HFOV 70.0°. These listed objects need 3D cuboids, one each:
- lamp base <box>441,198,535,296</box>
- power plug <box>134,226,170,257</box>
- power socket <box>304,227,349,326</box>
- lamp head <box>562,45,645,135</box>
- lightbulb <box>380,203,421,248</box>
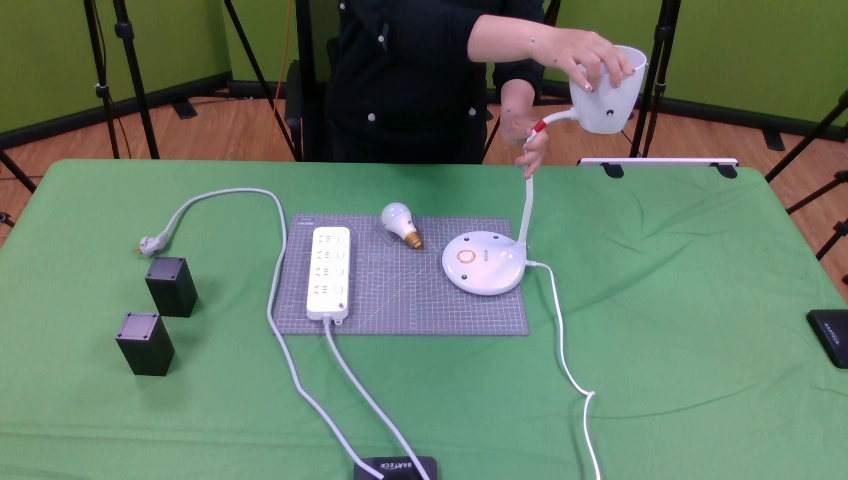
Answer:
[{"bbox_3d":[0.129,-0.012,1.105,0.179,0.181,0.159,-1,46,-9],"label":"lamp base"},{"bbox_3d":[-0.515,0.005,1.153,0.052,0.035,0.072,-6,24,7],"label":"power plug"},{"bbox_3d":[-0.177,0.059,1.115,0.072,0.033,0.225,-1,46,-4],"label":"power socket"},{"bbox_3d":[0.271,-0.223,0.930,0.112,0.123,0.112,-1,38,1],"label":"lamp head"},{"bbox_3d":[-0.043,-0.026,1.198,0.059,0.060,0.107,-29,70,-28],"label":"lightbulb"}]
